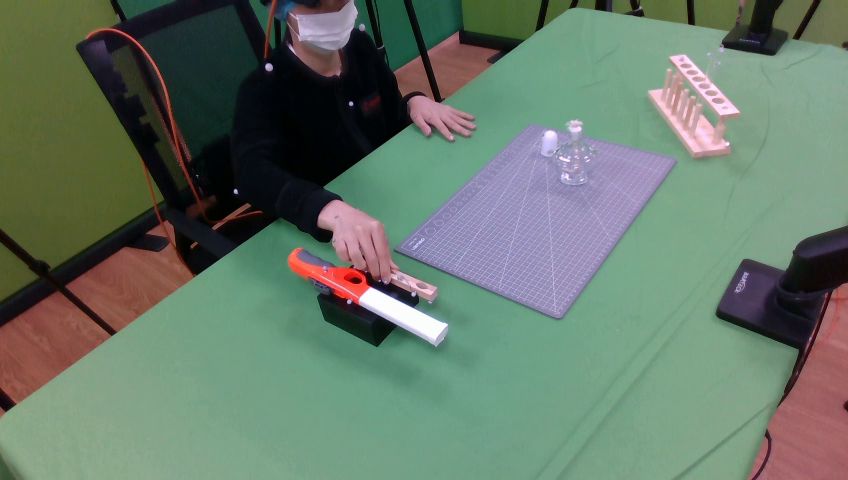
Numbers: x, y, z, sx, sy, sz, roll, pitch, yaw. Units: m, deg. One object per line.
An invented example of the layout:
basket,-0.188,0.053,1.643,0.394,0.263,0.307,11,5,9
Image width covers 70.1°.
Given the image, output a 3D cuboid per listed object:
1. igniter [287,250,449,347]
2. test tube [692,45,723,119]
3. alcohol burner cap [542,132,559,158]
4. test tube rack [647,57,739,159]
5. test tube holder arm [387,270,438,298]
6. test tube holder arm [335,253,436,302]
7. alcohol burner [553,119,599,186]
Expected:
igniter,-0.087,0.073,0.826,0.274,0.025,0.057,23,48,28
test tube,0.517,-0.285,1.106,0.017,0.151,0.017,-2,46,3
alcohol burner cap,0.237,-0.180,1.134,0.034,0.048,0.033,-5,41,5
test tube rack,0.504,-0.257,1.153,0.067,0.085,0.241,-7,40,1
test tube holder arm,-0.018,0.061,0.834,0.087,0.015,0.010,19,38,30
test tube holder arm,-0.058,0.051,0.852,0.177,0.015,0.013,19,37,29
alcohol burner,0.261,-0.153,1.042,0.078,0.119,0.077,-6,40,6
